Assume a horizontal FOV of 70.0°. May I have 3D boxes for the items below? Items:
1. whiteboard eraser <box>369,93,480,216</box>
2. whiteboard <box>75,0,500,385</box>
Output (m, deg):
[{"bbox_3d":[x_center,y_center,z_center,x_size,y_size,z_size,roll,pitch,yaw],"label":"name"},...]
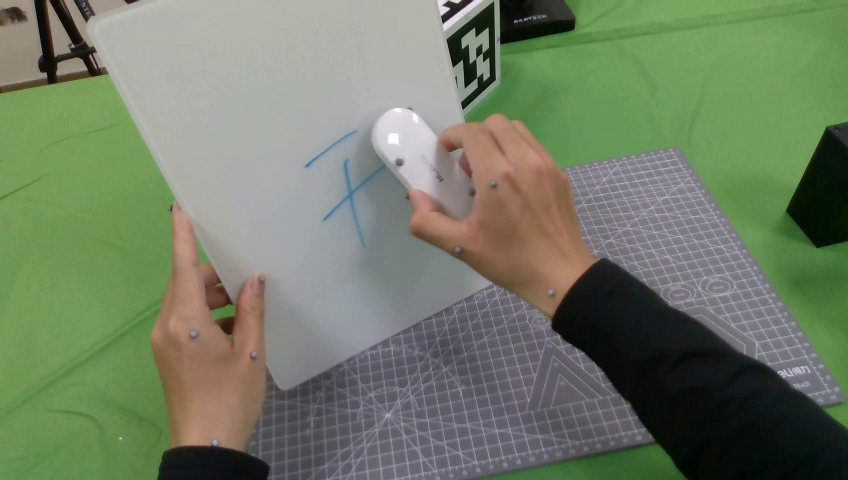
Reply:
[{"bbox_3d":[0.001,-0.060,0.435,0.102,0.019,0.041,48,67,-14],"label":"whiteboard eraser"},{"bbox_3d":[-0.091,-0.079,0.498,0.217,0.308,0.142,-26,33,-14],"label":"whiteboard"}]
